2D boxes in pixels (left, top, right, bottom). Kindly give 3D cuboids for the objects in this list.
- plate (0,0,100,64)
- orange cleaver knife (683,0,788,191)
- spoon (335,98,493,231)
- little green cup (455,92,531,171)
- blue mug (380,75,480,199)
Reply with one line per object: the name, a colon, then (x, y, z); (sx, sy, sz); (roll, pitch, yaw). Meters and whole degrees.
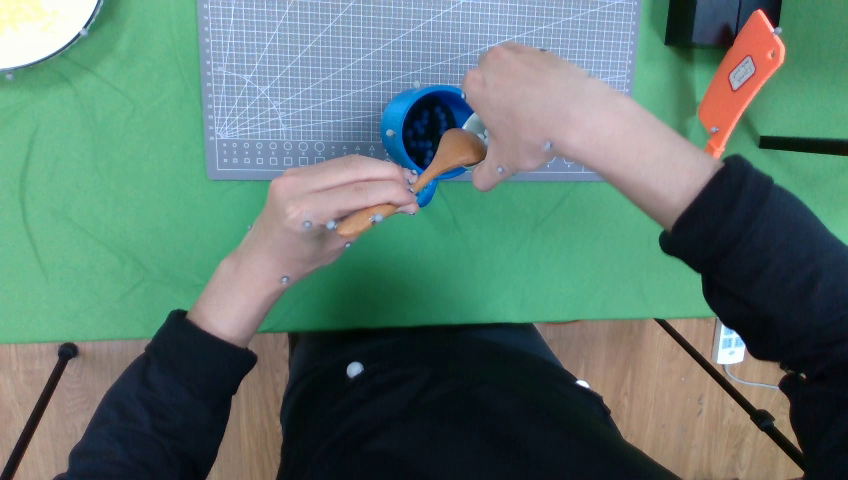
plate: (-0.369, -0.252, 0.496); (0.210, 0.038, 0.210); (-3, 105, -12)
orange cleaver knife: (0.324, -0.149, 0.658); (0.012, 0.076, 0.213); (-2, 135, -13)
spoon: (-0.002, -0.058, 0.449); (0.041, 0.021, 0.193); (45, 54, -1)
little green cup: (0.060, -0.089, 0.516); (0.039, 0.061, 0.061); (22, 98, -34)
blue mug: (0.003, -0.098, 0.584); (0.082, 0.105, 0.117); (7, 102, -14)
